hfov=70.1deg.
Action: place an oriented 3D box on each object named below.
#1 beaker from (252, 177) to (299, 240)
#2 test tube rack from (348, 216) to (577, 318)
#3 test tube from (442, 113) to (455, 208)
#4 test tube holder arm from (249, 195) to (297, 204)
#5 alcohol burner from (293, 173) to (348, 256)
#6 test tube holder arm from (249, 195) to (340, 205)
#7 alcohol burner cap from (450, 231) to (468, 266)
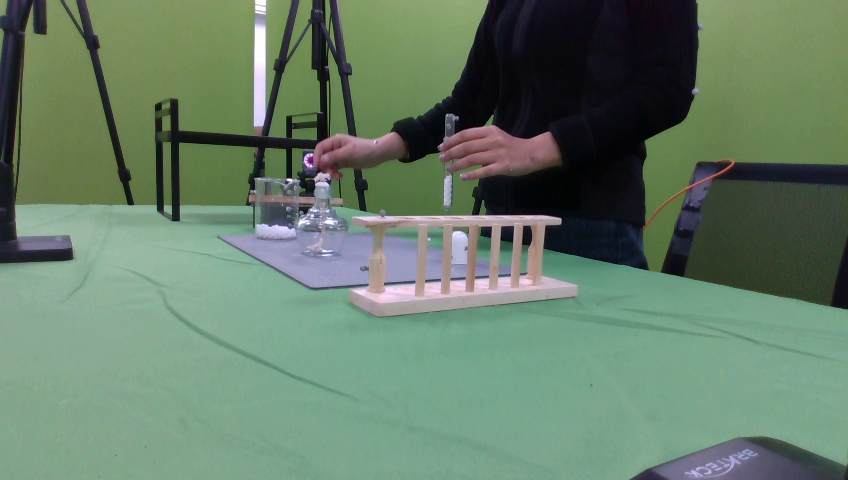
[{"bbox_3d":[-0.245,-0.052,1.005,0.074,0.100,0.083,-2,10,-32],"label":"beaker"},{"bbox_3d":[0.048,0.021,0.619,0.244,0.085,0.066,-2,8,-31],"label":"test tube rack"},{"bbox_3d":[0.039,-0.126,0.958,0.017,0.150,0.017,2,0,0],"label":"test tube"},{"bbox_3d":[-0.284,-0.076,1.141,0.088,0.015,0.010,0,9,-29],"label":"test tube holder arm"},{"bbox_3d":[-0.147,-0.036,0.859,0.078,0.119,0.078,4,8,0],"label":"alcohol burner"},{"bbox_3d":[-0.247,-0.077,1.168,0.179,0.015,0.013,0,9,-30],"label":"test tube holder arm"},{"bbox_3d":[0.046,0.012,0.839,0.034,0.048,0.034,3,5,0],"label":"alcohol burner cap"}]
